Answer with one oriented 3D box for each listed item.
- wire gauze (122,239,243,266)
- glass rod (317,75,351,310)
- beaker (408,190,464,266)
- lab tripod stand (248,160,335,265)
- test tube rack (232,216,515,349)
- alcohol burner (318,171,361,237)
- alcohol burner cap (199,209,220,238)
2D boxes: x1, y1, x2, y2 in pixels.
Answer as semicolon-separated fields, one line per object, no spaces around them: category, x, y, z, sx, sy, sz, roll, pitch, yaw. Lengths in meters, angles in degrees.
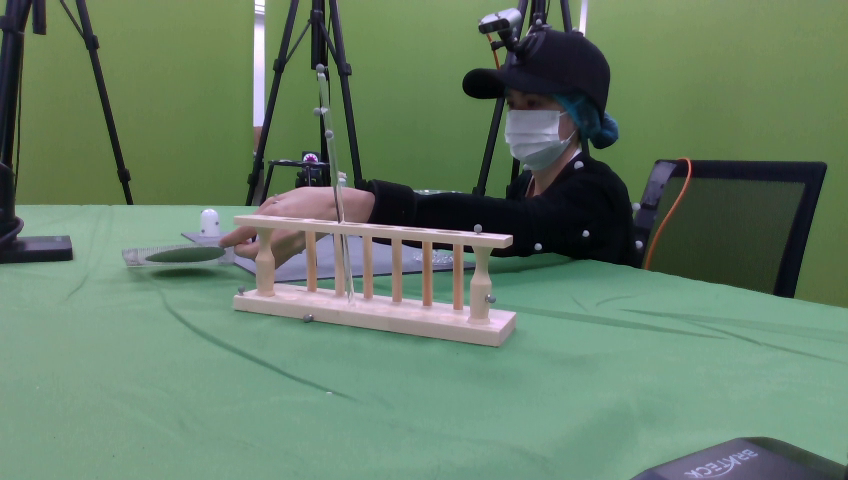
wire gauze;-0.276;0.019;0.692;0.122;0.011;0.124;-5;-9;-25
glass rod;-0.075;-0.036;0.502;0.008;0.199;0.008;-6;8;1
beaker;0.018;-0.018;0.840;0.074;0.100;0.083;-3;9;-35
lab tripod stand;-0.165;-0.040;0.817;0.148;0.131;0.148;5;8;0
test tube rack;-0.045;0.029;0.525;0.241;0.085;0.067;5;8;19
alcohol burner;-0.155;-0.066;1.104;0.078;0.119;0.078;1;8;0
alcohol burner cap;-0.356;-0.027;1.002;0.034;0.048;0.034;2;7;0
